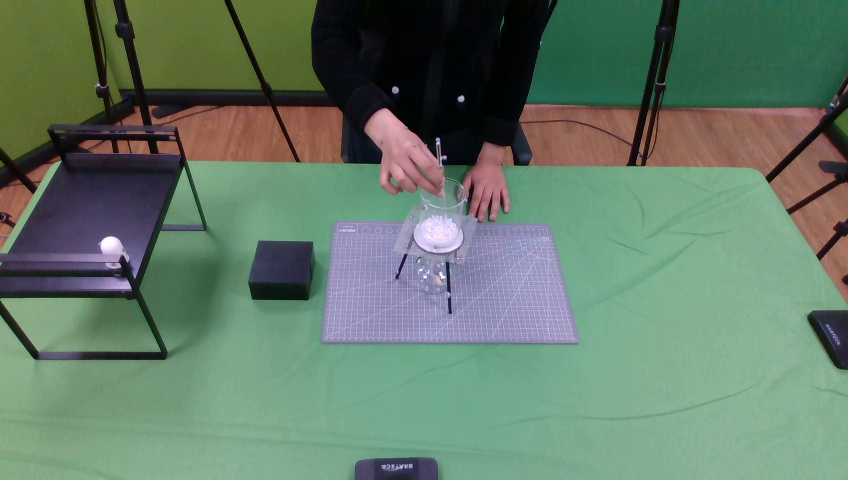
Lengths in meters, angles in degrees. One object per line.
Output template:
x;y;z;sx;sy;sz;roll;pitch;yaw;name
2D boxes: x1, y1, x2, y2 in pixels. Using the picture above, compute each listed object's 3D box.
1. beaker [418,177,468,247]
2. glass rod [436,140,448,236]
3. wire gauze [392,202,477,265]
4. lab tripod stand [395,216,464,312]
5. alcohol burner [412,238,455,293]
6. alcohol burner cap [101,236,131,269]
0.026;-0.045;1.004;0.074;0.101;0.083;-20;51;-23;beaker
0.030;-0.076;0.952;0.008;0.201;0.008;-3;47;4;glass rod
0.021;-0.011;1.038;0.121;0.011;0.124;13;49;9;wire gauze
0.023;0.037;1.084;0.148;0.132;0.147;4;46;-4;lab tripod stand
0.019;0.040;1.094;0.078;0.119;0.077;3;45;-3;alcohol burner
-0.452;0.016;0.883;0.034;0.048;0.033;2;47;-1;alcohol burner cap
